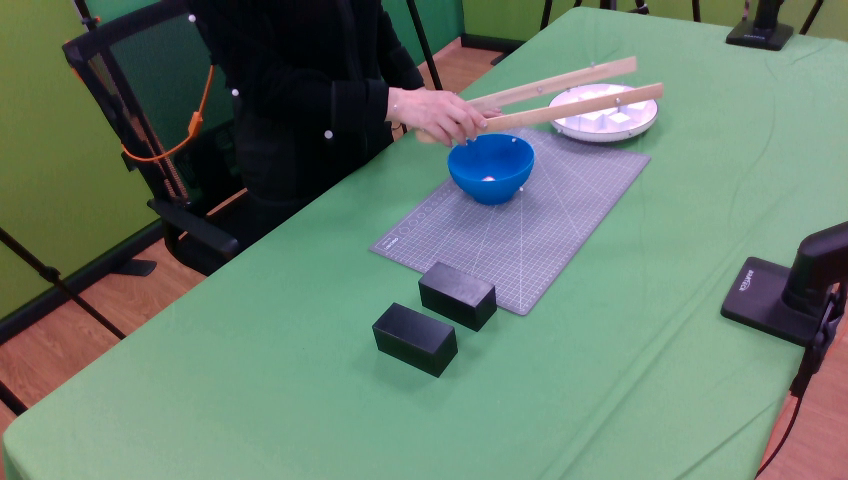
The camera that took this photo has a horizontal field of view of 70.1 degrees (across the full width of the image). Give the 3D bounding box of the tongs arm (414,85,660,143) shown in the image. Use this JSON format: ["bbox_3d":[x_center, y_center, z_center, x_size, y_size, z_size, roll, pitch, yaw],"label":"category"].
[{"bbox_3d":[0.174,-0.199,0.957,0.387,0.028,0.028,-9,43,8],"label":"tongs arm"}]

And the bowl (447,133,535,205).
[{"bbox_3d":[0.119,-0.114,1.051,0.151,0.077,0.150,-6,40,5],"label":"bowl"}]

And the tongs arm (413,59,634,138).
[{"bbox_3d":[0.169,-0.236,1.007,0.385,0.026,0.050,-13,39,1],"label":"tongs arm"}]

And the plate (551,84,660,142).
[{"bbox_3d":[0.355,-0.247,1.195,0.207,0.039,0.206,-5,39,5],"label":"plate"}]
